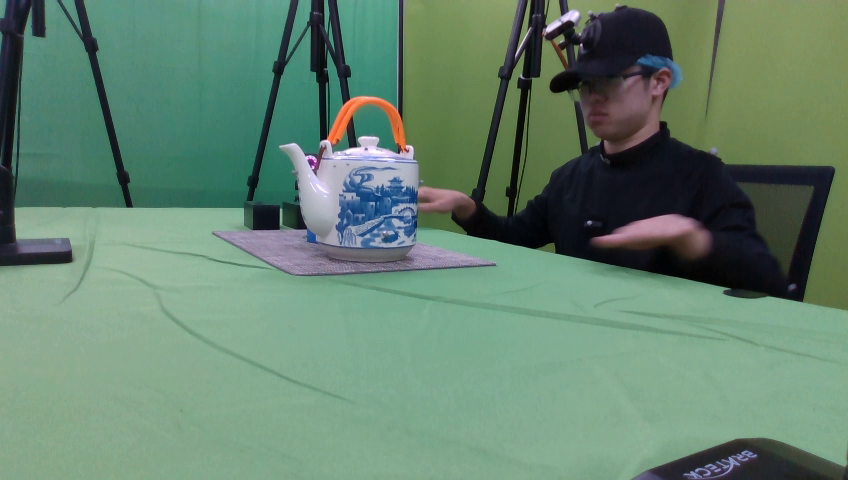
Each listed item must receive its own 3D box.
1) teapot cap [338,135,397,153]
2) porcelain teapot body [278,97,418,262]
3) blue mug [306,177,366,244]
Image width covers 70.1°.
[{"bbox_3d":[-0.080,-0.127,0.854,0.085,0.044,0.085,-1,6,0],"label":"teapot cap"},{"bbox_3d":[-0.104,-0.086,0.842,0.206,0.225,0.144,-4,10,-38],"label":"porcelain teapot body"},{"bbox_3d":[-0.144,-0.052,1.027,0.082,0.106,0.117,9,10,42],"label":"blue mug"}]
